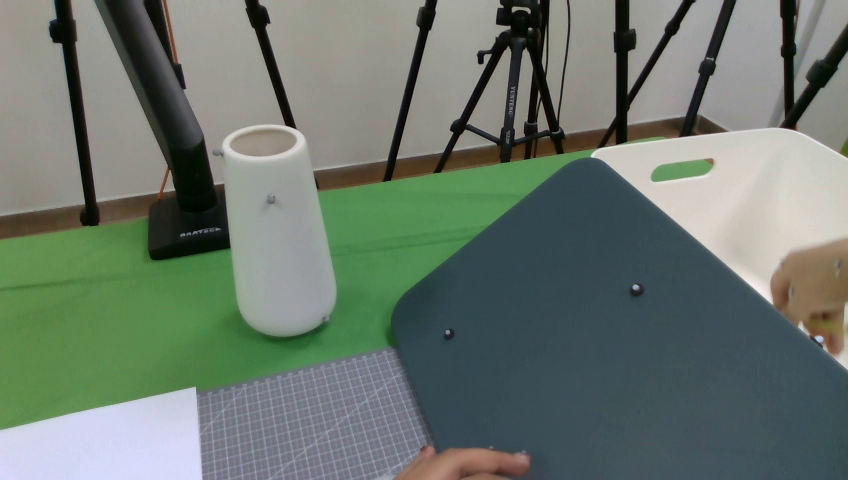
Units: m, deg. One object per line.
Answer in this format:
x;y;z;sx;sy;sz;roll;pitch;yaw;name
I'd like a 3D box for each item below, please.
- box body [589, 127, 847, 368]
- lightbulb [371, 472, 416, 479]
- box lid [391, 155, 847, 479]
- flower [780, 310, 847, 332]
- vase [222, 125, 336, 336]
0.326;0.055;0.542;0.255;0.162;0.360;-9;37;-14;box body
-0.016;0.210;0.403;0.060;0.060;0.106;-8;52;-12;lightbulb
0.117;0.095;0.469;0.263;0.015;0.367;-40;39;9;box lid
0.299;0.059;0.540;0.044;0.038;0.358;-40;29;-23;flower
-0.139;-0.005;0.576;0.098;0.201;0.097;0;35;0;vase
